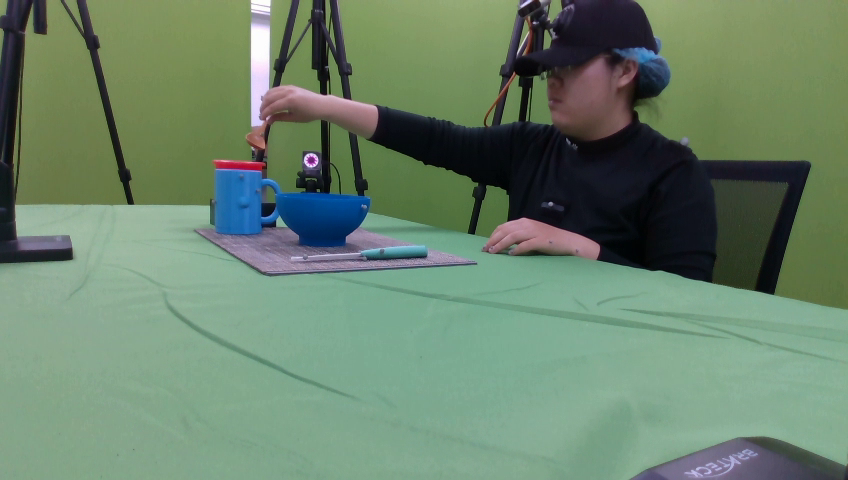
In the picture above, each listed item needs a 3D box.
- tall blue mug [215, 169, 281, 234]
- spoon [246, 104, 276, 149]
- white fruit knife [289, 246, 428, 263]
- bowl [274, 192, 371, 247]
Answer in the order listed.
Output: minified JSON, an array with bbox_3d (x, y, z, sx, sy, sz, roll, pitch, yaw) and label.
[{"bbox_3d":[-0.313,-0.069,1.061,0.077,0.108,0.108,6,8,31],"label":"tall blue mug"},{"bbox_3d":[-0.319,-0.231,1.214,0.042,0.021,0.193,31,33,-20],"label":"spoon"},{"bbox_3d":[-0.082,0.022,0.822,0.208,0.016,0.027,-3,-20,-30],"label":"white fruit knife"},{"bbox_3d":[-0.161,-0.033,0.958,0.151,0.077,0.151,3,8,0],"label":"bowl"}]
